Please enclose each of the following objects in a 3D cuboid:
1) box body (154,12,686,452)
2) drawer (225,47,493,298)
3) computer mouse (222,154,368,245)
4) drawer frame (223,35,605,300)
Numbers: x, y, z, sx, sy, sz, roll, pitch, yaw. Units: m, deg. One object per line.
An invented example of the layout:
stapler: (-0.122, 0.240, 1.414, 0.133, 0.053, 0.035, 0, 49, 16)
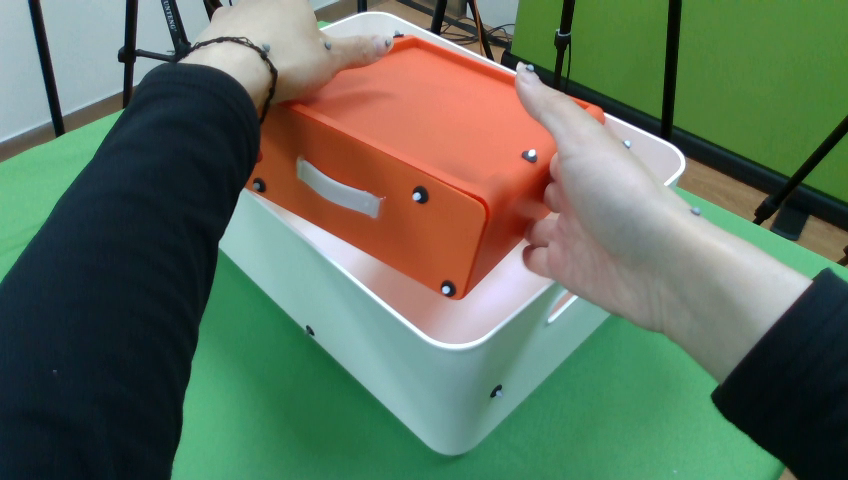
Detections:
box body: (-0.015, -0.032, 0.524, 0.254, 0.162, 0.360, -35, 54, -29)
drawer: (-0.001, -0.070, 0.448, 0.193, 0.074, 0.211, 27, 35, 20)
computer mouse: (-0.070, -0.030, 0.397, 0.117, 0.041, 0.062, 9, 41, -3)
drawer frame: (0.001, -0.074, 0.450, 0.200, 0.083, 0.213, 27, 35, 20)
